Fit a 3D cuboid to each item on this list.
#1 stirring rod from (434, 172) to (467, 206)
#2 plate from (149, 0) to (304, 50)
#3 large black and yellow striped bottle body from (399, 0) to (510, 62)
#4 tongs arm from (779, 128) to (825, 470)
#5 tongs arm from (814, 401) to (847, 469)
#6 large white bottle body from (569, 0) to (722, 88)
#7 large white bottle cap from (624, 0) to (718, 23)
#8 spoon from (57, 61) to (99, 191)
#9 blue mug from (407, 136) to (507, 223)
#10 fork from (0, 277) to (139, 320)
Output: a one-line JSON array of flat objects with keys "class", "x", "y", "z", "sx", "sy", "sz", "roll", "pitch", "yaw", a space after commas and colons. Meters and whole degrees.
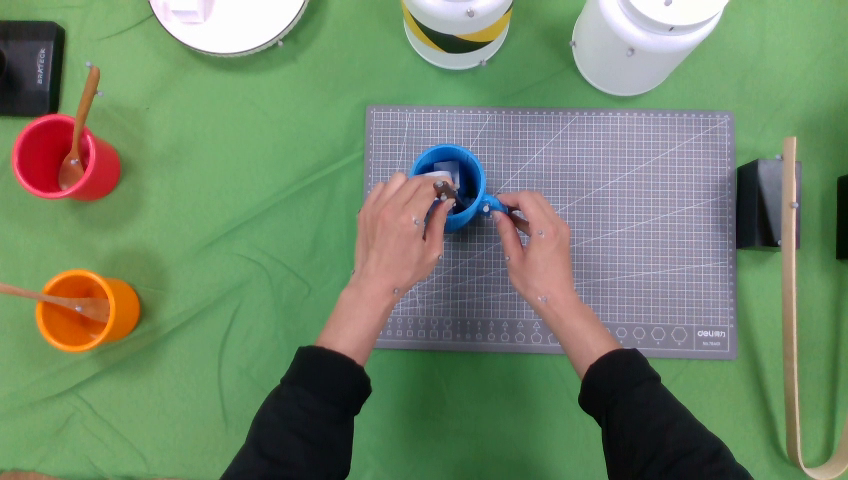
[{"class": "stirring rod", "x": 0.033, "y": -0.048, "z": 0.632, "sx": 0.014, "sy": 0.177, "sz": 0.006, "roll": -20, "pitch": 80, "yaw": 9}, {"class": "plate", "x": -0.239, "y": -0.333, "z": 0.750, "sx": 0.207, "sy": 0.039, "sz": 0.207, "roll": 0, "pitch": 86, "yaw": 2}, {"class": "large black and yellow striped bottle body", "x": 0.034, "y": -0.289, "z": 0.667, "sx": 0.131, "sy": 0.184, "sz": 0.130, "roll": 0, "pitch": 85, "yaw": 2}, {"class": "tongs arm", "x": 0.421, "y": 0.069, "z": 0.671, "sx": 0.051, "sy": 0.026, "sz": 0.385, "roll": -3, "pitch": 98, "yaw": -1}, {"class": "tongs arm", "x": 0.503, "y": 0.072, "z": 0.671, "sx": 0.028, "sy": 0.027, "sz": 0.388, "roll": 10, "pitch": 98, "yaw": -6}, {"class": "large white bottle body", "x": 0.240, "y": -0.257, "z": 0.659, "sx": 0.130, "sy": 0.185, "sz": 0.130, "roll": 0, "pitch": 86, "yaw": 2}, {"class": "large white bottle cap", "x": 0.237, "y": -0.265, "z": 0.575, "sx": 0.115, "sy": 0.018, "sz": 0.114, "roll": 0, "pitch": 85, "yaw": 1}, {"class": "spoon", "x": -0.391, "y": -0.125, "z": 0.687, "sx": 0.041, "sy": 0.021, "sz": 0.194, "roll": 47, "pitch": 132, "yaw": 7}, {"class": "blue mug", "x": 0.040, "y": -0.059, "z": 0.688, "sx": 0.116, "sy": 0.106, "sz": 0.082, "roll": 22, "pitch": 86, "yaw": 3}, {"class": "fork", "x": -0.425, "y": 0.057, "z": 0.672, "sx": 0.209, "sy": 0.018, "sz": 0.028, "roll": 23, "pitch": 85, "yaw": -40}]
